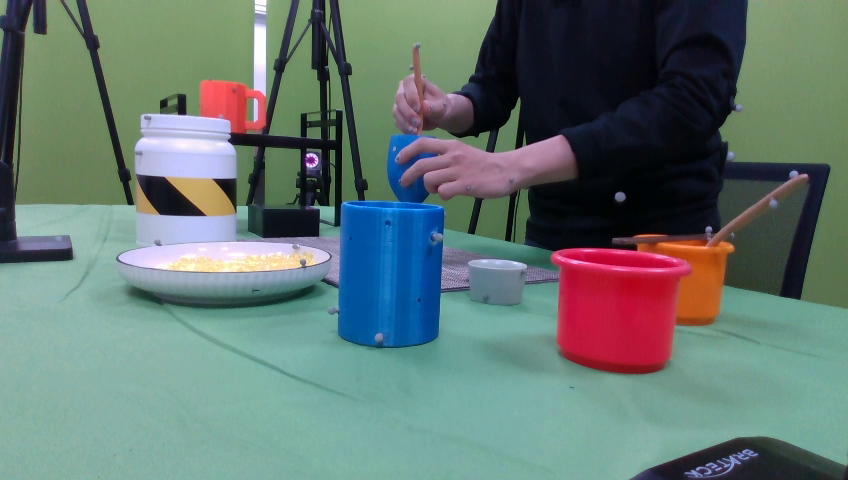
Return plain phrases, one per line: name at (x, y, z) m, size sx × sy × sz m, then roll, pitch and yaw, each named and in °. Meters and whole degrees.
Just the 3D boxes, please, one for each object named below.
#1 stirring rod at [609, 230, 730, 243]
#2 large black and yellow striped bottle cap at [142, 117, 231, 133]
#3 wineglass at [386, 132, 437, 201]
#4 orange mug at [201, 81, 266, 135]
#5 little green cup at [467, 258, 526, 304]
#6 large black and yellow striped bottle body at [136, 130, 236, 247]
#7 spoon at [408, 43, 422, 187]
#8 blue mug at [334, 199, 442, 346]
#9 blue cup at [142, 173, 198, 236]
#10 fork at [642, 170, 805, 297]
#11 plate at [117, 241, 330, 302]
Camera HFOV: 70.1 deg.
stirring rod at (0.241, -0.004, 0.582) m, size 0.177 × 0.006 × 0.014 m, roll -4°, pitch 9°, yaw -33°
large black and yellow striped bottle cap at (-0.328, -0.159, 0.839) m, size 0.115 × 0.019 × 0.115 m, roll 1°, pitch 9°, yaw 0°
wineglass at (-0.019, -0.061, 0.842) m, size 0.074 × 0.172 × 0.073 m, roll 2°, pitch 7°, yaw 0°
orange mug at (-0.377, -0.260, 1.198) m, size 0.126 × 0.101 × 0.083 m, roll -3°, pitch 8°, yaw -6°
little green cup at (0.074, 0.042, 0.625) m, size 0.061 × 0.038 × 0.061 m, roll 3°, pitch 7°, yaw 0°
large black and yellow striped bottle body at (-0.332, -0.076, 0.851) m, size 0.131 × 0.184 × 0.130 m, roll 3°, pitch 8°, yaw 0°
spoon at (-0.011, -0.170, 0.830) m, size 0.022 × 0.193 × 0.041 m, roll 0°, pitch 9°, yaw -8°
blue mug at (-0.034, 0.020, 0.498) m, size 0.083 × 0.106 × 0.116 m, roll 0°, pitch 7°, yaw -20°
blue cup at (-0.425, -0.060, 1.014) m, size 0.093 × 0.100 × 0.092 m, roll 4°, pitch 9°, yaw 0°
fork at (0.261, 0.004, 0.545) m, size 0.028 × 0.018 × 0.207 m, roll 5°, pitch -37°, yaw -15°
plate at (-0.203, 0.031, 0.629) m, size 0.209 × 0.038 × 0.209 m, roll 3°, pitch 7°, yaw 0°
